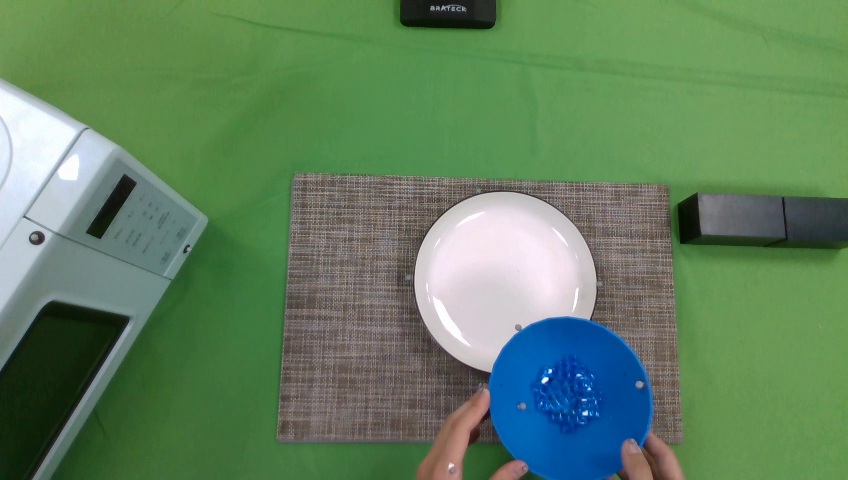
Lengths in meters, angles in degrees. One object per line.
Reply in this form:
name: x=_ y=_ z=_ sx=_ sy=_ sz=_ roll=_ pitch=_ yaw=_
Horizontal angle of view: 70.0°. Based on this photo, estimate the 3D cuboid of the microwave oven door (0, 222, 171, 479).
microwave oven door: x=-0.368 y=0.162 z=0.517 sx=0.039 sy=0.244 sz=0.355 roll=27 pitch=79 yaw=3

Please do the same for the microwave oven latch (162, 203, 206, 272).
microwave oven latch: x=-0.269 y=-0.006 z=0.658 sx=0.030 sy=0.029 sz=0.079 roll=30 pitch=80 yaw=2

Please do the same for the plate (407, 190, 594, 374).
plate: x=0.084 y=0.048 z=0.684 sx=0.208 sy=0.039 sz=0.206 roll=1 pitch=79 yaw=-3

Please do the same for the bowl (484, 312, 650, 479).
bowl: x=0.132 y=0.151 z=0.593 sx=0.151 sy=0.077 sz=0.150 roll=-1 pitch=74 yaw=3

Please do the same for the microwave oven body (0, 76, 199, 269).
microwave oven body: x=-0.478 y=0.059 z=0.535 sx=0.326 sy=0.261 sz=0.440 roll=28 pitch=79 yaw=2
